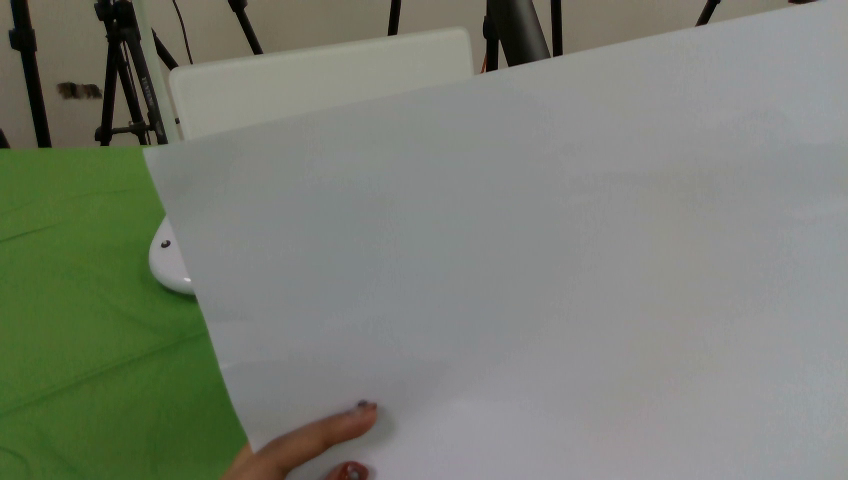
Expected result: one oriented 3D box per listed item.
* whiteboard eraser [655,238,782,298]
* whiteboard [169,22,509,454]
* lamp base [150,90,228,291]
[{"bbox_3d":[0.307,0.031,0.635,0.113,0.042,0.055,-7,39,-8],"label":"whiteboard eraser"},{"bbox_3d":[-0.066,-0.013,0.533,0.218,0.307,0.142,-14,20,-16],"label":"whiteboard"},{"bbox_3d":[-0.240,-0.062,0.656,0.177,0.182,0.160,25,44,33],"label":"lamp base"}]
